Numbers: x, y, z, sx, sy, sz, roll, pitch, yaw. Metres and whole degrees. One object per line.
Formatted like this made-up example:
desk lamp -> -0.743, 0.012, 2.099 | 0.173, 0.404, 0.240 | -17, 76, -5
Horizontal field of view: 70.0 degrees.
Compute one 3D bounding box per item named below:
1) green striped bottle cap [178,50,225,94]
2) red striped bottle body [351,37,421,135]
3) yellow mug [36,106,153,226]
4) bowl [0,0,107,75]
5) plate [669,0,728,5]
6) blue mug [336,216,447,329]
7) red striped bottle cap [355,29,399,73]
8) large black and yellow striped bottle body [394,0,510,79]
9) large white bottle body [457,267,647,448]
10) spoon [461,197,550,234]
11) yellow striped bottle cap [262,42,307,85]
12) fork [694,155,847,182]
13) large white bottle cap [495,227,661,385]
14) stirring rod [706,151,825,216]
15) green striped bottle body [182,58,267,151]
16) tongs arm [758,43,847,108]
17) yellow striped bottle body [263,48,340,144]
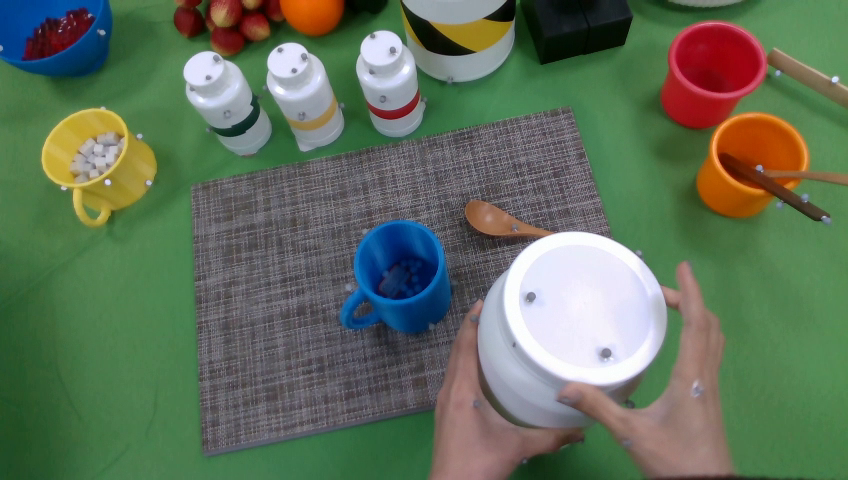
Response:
green striped bottle cap -> -0.229, -0.174, 0.625 | 0.044, 0.020, 0.044 | -1, 69, 3
red striped bottle body -> -0.041, -0.173, 0.664 | 0.063, 0.120, 0.062 | -3, 68, 7
yellow mug -> -0.374, -0.079, 0.687 | 0.100, 0.064, 0.130 | -3, 70, 4
bowl -> -0.459, -0.262, 0.758 | 0.151, 0.077, 0.150 | -2, 69, 4
plate -> 0.333, -0.371, 0.748 | 0.209, 0.038, 0.207 | -2, 70, 5
blue mug -> -0.034, 0.044, 0.585 | 0.116, 0.106, 0.081 | -36, 70, -8
red striped bottle cap -> -0.047, -0.192, 0.615 | 0.044, 0.018, 0.044 | 0, 67, 1
large black and yellow striped bottle body -> 0.030, -0.282, 0.664 | 0.130, 0.185, 0.130 | -2, 69, 5
large white bottle body -> 0.102, 0.088, 0.501 | 0.131, 0.186, 0.129 | 3, 59, -4
spoon -> 0.130, -0.005, 0.633 | 0.193, 0.022, 0.041 | 18, 51, 11
yellow striped bottle cap -> -0.142, -0.181, 0.620 | 0.044, 0.019, 0.044 | 0, 65, 1
fork -> 0.349, -0.062, 0.570 | 0.028, 0.019, 0.205 | -49, 29, -12
large white bottle cap -> 0.108, 0.044, 0.425 | 0.115, 0.018, 0.114 | 2, 63, -3
stirring rod -> 0.319, -0.058, 0.579 | 0.014, 0.006, 0.174 | -9, 25, -1
green striped bottle body -> -0.223, -0.155, 0.673 | 0.063, 0.120, 0.062 | -2, 69, 4
tongs arm -> 0.538, -0.114, 0.633 | 0.382, 0.027, 0.050 | 39, 73, 17
yellow striped bottle body -> -0.136, -0.163, 0.668 | 0.063, 0.121, 0.062 | -2, 68, 5
